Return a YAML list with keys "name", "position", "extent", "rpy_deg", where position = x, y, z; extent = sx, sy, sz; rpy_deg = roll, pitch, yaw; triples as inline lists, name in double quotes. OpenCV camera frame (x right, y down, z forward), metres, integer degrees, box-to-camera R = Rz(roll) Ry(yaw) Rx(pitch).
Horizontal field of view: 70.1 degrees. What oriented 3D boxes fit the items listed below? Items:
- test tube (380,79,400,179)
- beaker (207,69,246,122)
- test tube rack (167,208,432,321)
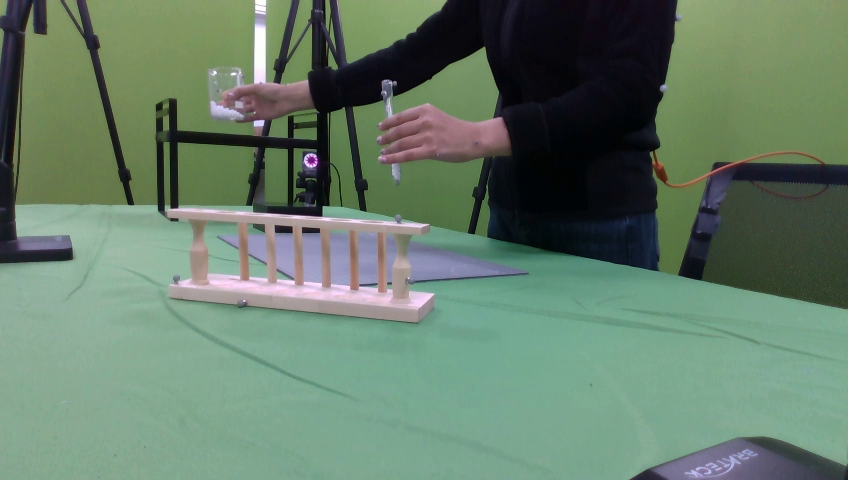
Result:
- name: "test tube"
  position: [-0.051, -0.165, 0.900]
  extent: [0.017, 0.150, 0.017]
  rpy_deg: [-7, -1, 0]
- name: "beaker"
  position: [-0.408, -0.297, 1.249]
  extent: [0.074, 0.100, 0.084]
  rpy_deg: [0, 7, 19]
- name: "test tube rack"
  position: [-0.116, 0.017, 0.574]
  extent: [0.242, 0.085, 0.067]
  rpy_deg: [4, 8, 13]
